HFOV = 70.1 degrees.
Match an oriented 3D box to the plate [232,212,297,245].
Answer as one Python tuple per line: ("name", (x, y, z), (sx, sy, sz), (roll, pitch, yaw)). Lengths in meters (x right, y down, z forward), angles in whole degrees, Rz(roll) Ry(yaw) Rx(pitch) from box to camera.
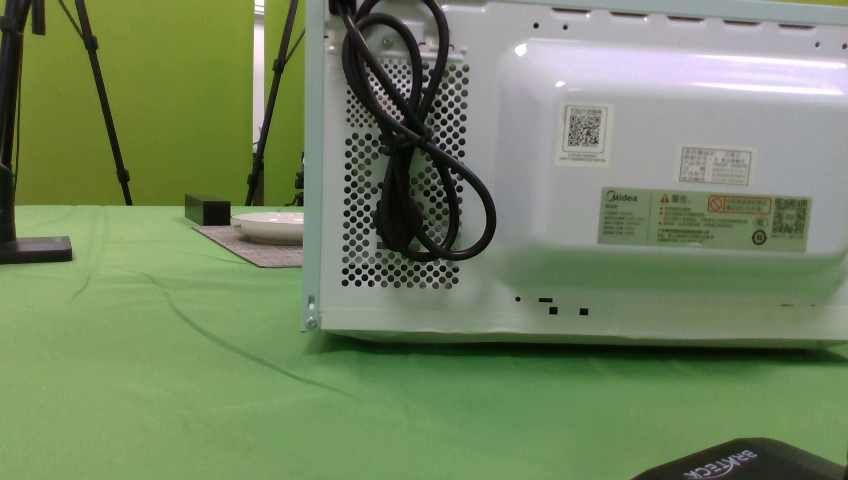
("plate", (-0.214, -0.019, 1.018), (0.208, 0.039, 0.207), (2, 7, 0))

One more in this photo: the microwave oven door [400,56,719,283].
("microwave oven door", (0.155, -0.077, 0.698), (0.356, 0.243, 0.039), (2, 8, -5))

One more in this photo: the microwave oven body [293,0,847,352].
("microwave oven body", (0.122, -0.055, 0.550), (0.442, 0.260, 0.325), (3, 7, -5))

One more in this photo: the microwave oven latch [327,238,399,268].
("microwave oven latch", (-0.069, 0.015, 0.694), (0.079, 0.029, 0.030), (3, 7, -3))
